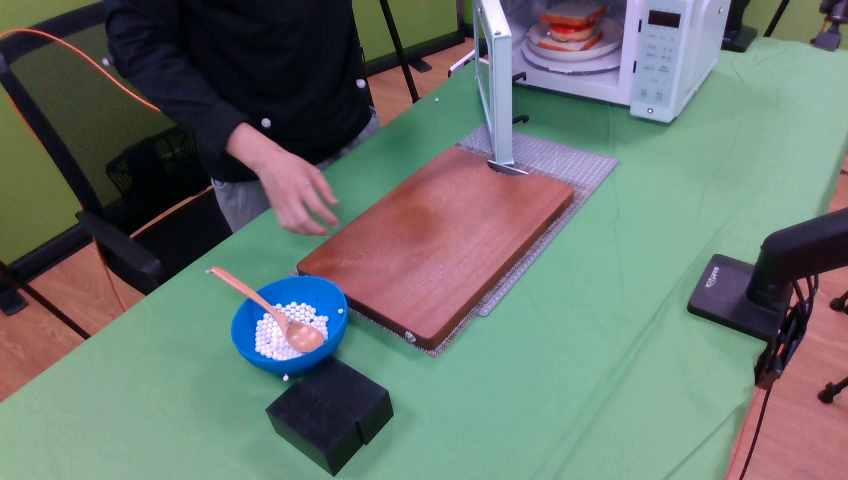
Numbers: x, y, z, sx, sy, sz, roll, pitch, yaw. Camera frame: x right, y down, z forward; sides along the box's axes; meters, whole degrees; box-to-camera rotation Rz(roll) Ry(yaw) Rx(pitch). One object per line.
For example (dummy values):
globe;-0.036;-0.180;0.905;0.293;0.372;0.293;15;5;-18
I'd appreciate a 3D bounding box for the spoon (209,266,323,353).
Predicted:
spoon;-0.213;0.088;0.806;0.193;0.021;0.042;37;56;11

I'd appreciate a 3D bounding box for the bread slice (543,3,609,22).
bread slice;0.326;-0.483;1.278;0.106;0.018;0.135;20;36;30

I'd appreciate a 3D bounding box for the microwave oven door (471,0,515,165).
microwave oven door;0.127;-0.340;1.153;0.039;0.245;0.354;-6;40;2

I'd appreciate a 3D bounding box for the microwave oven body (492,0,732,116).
microwave oven body;0.377;-0.462;1.267;0.438;0.261;0.327;21;48;30

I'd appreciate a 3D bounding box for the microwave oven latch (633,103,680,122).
microwave oven latch;0.443;-0.249;1.157;0.078;0.029;0.030;21;48;30

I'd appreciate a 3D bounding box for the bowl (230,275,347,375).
bowl;-0.171;0.125;0.802;0.151;0.077;0.150;-4;40;4

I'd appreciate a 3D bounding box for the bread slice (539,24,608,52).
bread slice;0.336;-0.449;1.335;0.132;0.019;0.104;-26;43;-19

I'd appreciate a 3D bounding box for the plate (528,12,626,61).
plate;0.334;-0.447;1.330;0.207;0.039;0.206;-6;43;6

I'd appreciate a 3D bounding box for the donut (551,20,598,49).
donut;0.322;-0.442;1.294;0.099;0.048;0.098;-2;44;3
